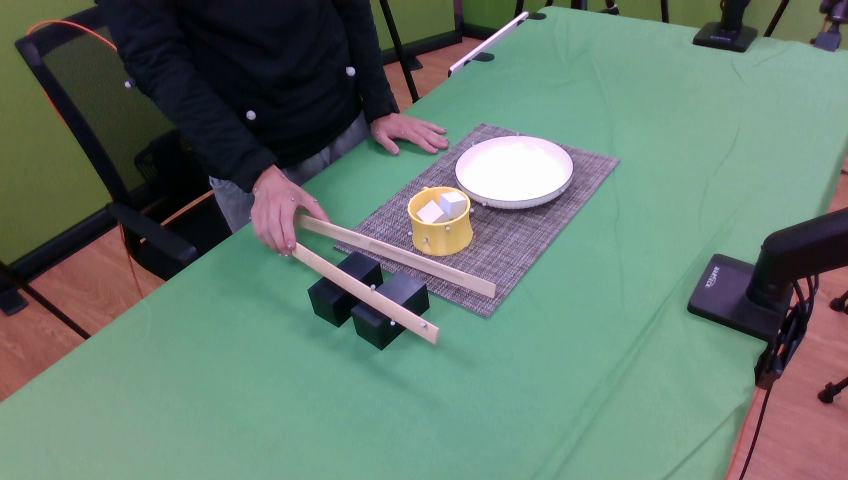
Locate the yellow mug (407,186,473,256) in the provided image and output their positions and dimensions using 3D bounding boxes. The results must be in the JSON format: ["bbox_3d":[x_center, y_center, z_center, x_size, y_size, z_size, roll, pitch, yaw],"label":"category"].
[{"bbox_3d":[0.021,-0.041,0.973,0.100,0.064,0.129,-19,41,-12],"label":"yellow mug"}]

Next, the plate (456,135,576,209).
[{"bbox_3d":[0.161,-0.116,1.064,0.207,0.039,0.206,-4,40,4],"label":"plate"}]

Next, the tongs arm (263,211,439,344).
[{"bbox_3d":[-0.115,0.042,0.863,0.381,0.026,0.051,26,37,32],"label":"tongs arm"}]

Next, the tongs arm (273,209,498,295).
[{"bbox_3d":[-0.068,0.014,0.921,0.385,0.028,0.028,18,37,21],"label":"tongs arm"}]
